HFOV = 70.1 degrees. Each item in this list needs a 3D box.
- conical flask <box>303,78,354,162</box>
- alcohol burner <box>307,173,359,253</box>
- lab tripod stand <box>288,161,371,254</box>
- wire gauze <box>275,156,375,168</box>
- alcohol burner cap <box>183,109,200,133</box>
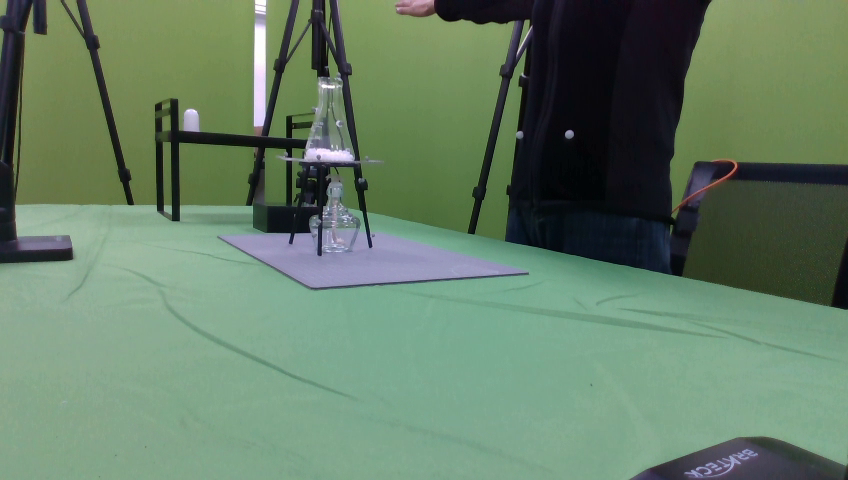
[{"bbox_3d":[-0.140,-0.175,0.892,0.075,0.122,0.075,2,7,0],"label":"conical flask"},{"bbox_3d":[-0.135,-0.041,0.901,0.078,0.119,0.078,2,6,0],"label":"alcohol burner"},{"bbox_3d":[-0.148,-0.052,0.908,0.148,0.131,0.148,1,8,0],"label":"lab tripod stand"},{"bbox_3d":[-0.142,-0.116,0.899,0.122,0.011,0.124,-1,5,-36],"label":"wire gauze"},{"bbox_3d":[-0.472,-0.241,1.229,0.034,0.048,0.034,3,8,0],"label":"alcohol burner cap"}]
